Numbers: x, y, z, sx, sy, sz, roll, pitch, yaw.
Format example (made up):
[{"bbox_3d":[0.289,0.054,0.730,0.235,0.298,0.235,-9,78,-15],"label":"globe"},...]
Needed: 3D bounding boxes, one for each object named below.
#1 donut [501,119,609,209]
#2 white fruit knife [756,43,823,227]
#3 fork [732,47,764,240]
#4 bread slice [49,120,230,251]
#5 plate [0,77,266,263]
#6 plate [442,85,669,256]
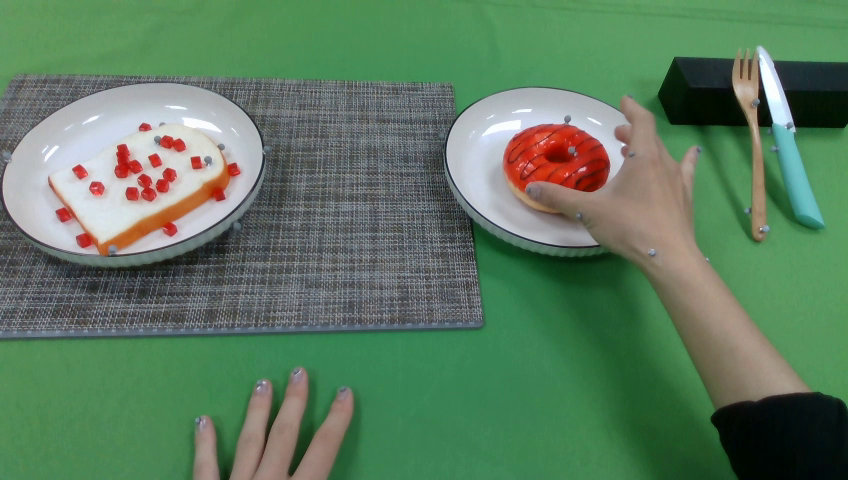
[{"bbox_3d":[0.119,-0.071,0.557,0.099,0.048,0.098,2,54,-2],"label":"donut"},{"bbox_3d":[0.357,-0.110,0.603,0.027,0.016,0.206,0,69,-7],"label":"white fruit knife"},{"bbox_3d":[0.317,-0.098,0.587,0.028,0.019,0.206,9,70,-5],"label":"fork"},{"bbox_3d":[-0.240,-0.057,0.523,0.131,0.019,0.104,-36,64,-27],"label":"bread slice"},{"bbox_3d":[-0.242,-0.061,0.524,0.209,0.038,0.207,3,53,-3],"label":"plate"},{"bbox_3d":[0.118,-0.064,0.567,0.208,0.039,0.205,3,52,-4],"label":"plate"}]
